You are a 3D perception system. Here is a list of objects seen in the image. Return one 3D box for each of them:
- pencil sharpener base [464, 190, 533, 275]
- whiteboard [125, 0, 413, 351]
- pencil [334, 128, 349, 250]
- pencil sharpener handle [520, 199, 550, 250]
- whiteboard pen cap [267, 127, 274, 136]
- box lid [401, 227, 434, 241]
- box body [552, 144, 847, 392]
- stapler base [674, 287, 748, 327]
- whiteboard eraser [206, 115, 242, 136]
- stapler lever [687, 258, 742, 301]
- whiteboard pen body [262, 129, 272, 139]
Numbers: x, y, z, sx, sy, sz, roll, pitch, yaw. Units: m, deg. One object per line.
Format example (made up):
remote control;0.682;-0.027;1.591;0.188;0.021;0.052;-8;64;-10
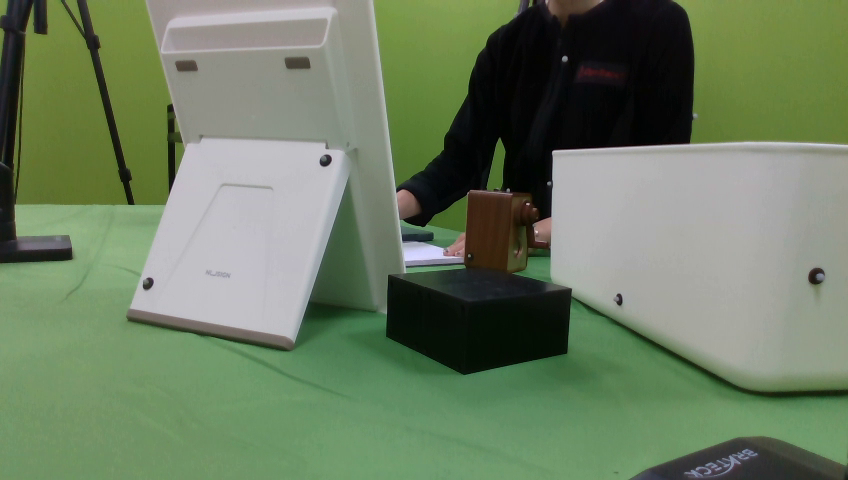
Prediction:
pencil sharpener base;0.102;-0.012;0.813;0.076;0.107;0.061;8;9;36
whiteboard;-0.151;-0.050;0.471;0.216;0.305;0.144;6;27;24
pencil;-0.125;-0.079;0.919;0.012;0.193;0.012;-6;-11;-1
pencil sharpener handle;0.147;-0.019;0.785;0.030;0.068;0.036;8;25;36
whiteboard pen cap;-0.340;-0.239;1.337;0.018;0.018;0.033;1;-1;-14
box lid;-0.196;-0.015;1.105;0.373;0.015;0.262;-1;7;-32
box body;0.290;0.002;0.549;0.255;0.160;0.363;2;7;-10
stapler base;0.281;0.061;0.586;0.041;0.024;0.131;10;8;37
whiteboard eraser;-0.438;-0.249;1.320;0.056;0.042;0.112;-3;9;-30
stapler lever;0.283;0.035;0.585;0.026;0.040;0.119;10;8;37
whiteboard pen body;-0.361;-0.245;1.393;0.017;0.017;0.140;0;5;-20
